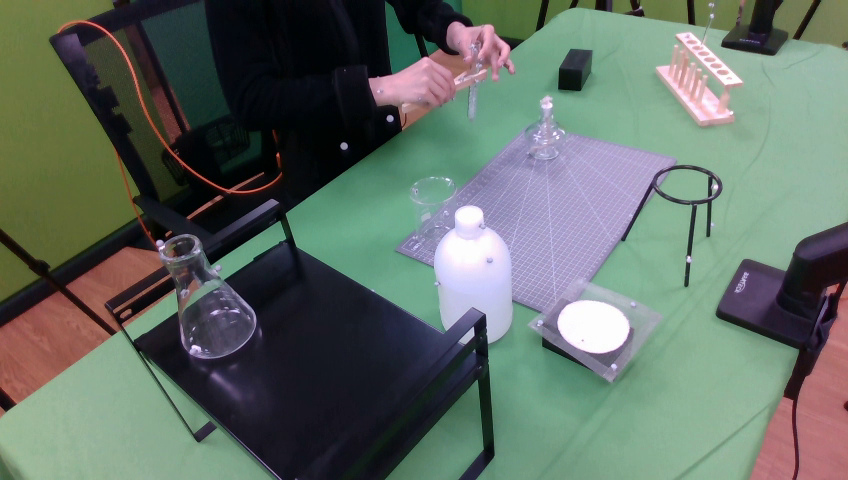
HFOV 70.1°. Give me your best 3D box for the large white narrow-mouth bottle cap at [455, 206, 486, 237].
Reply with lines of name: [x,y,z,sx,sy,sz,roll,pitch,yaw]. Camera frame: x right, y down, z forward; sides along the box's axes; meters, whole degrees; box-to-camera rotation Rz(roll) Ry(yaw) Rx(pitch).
large white narrow-mouth bottle cap: [0.057,-0.023,0.734,0.038,0.024,0.037,-4,40,4]

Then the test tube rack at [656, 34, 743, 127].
test tube rack: [0.553,-0.330,1.233,0.067,0.085,0.241,-7,40,2]

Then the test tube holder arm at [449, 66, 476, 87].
test tube holder arm: [0.065,-0.273,1.032,0.010,0.015,0.088,18,46,24]

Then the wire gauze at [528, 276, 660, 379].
wire gauze: [0.214,0.103,0.763,0.124,0.011,0.122,30,52,35]

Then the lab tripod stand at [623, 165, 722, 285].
lab tripod stand: [0.365,-0.030,0.875,0.148,0.132,0.147,-6,41,6]

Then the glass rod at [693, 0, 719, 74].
glass rod: [0.561,-0.402,1.214,0.008,0.200,0.008,-1,49,2]

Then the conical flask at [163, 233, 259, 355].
conical flask: [-0.216,0.051,0.601,0.075,0.122,0.075,-4,40,4]

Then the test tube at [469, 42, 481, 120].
test tube: [0.088,-0.273,1.051,0.017,0.151,0.017,-1,48,1]

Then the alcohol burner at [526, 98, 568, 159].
alcohol burner: [0.228,-0.210,1.118,0.078,0.119,0.077,-5,43,5]

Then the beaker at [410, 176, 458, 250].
beaker: [0.022,-0.041,0.963,0.073,0.101,0.084,28,51,35]

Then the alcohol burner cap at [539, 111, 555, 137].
alcohol burner cap: [0.243,-0.232,1.197,0.034,0.048,0.033,-5,38,4]

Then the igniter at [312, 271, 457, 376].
igniter: [-0.068,0.111,0.859,0.274,0.025,0.057,27,61,34]

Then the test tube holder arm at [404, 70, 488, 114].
test tube holder arm: [0.039,-0.248,1.006,0.179,0.015,0.013,-32,47,-28]

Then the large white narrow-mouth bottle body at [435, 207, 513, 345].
large white narrow-mouth bottle body: [0.065,0.041,0.791,0.102,0.195,0.101,-4,41,4]
